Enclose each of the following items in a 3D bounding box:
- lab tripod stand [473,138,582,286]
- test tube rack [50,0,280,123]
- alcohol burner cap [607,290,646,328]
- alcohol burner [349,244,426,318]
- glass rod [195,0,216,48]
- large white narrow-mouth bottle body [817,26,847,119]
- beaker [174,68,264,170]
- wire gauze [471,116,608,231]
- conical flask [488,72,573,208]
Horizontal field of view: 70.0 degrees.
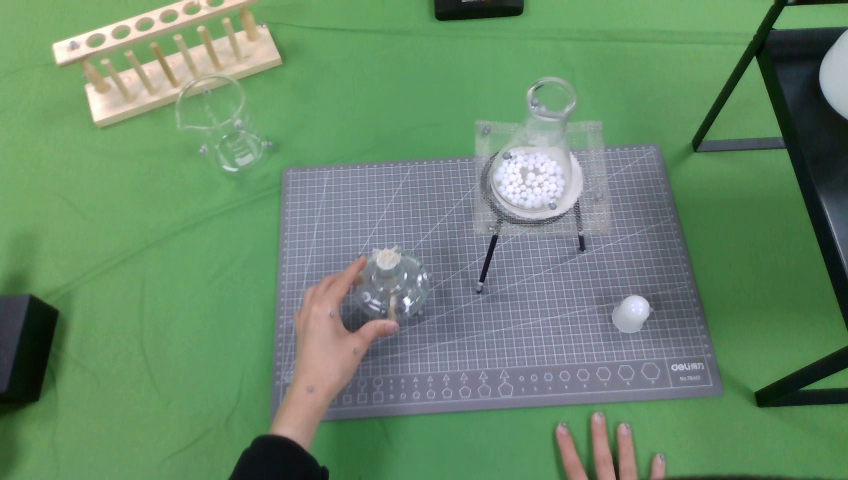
[{"bbox_3d":[0.099,-0.031,0.616,0.148,0.132,0.147,0,64,0],"label":"lab tripod stand"},{"bbox_3d":[-0.313,-0.235,0.751,0.242,0.086,0.066,-22,67,-9],"label":"test tube rack"},{"bbox_3d":[0.209,0.067,0.618,0.034,0.048,0.033,-1,66,2],"label":"alcohol burner cap"},{"bbox_3d":[-0.037,0.035,0.600,0.078,0.120,0.077,0,64,0],"label":"alcohol burner"},{"bbox_3d":[-0.269,-0.298,0.705,0.008,0.201,0.008,1,63,-2],"label":"glass rod"},{"bbox_3d":[0.390,-0.176,0.446,0.102,0.196,0.101,0,63,1],"label":"large white narrow-mouth bottle body"},{"bbox_3d":[-0.231,-0.131,0.693,0.073,0.101,0.084,41,73,19],"label":"beaker"},{"bbox_3d":[0.104,-0.063,0.558,0.121,0.011,0.124,2,63,0],"label":"wire gauze"},{"bbox_3d":[0.094,-0.085,0.502,0.075,0.123,0.074,0,65,1],"label":"conical flask"}]
